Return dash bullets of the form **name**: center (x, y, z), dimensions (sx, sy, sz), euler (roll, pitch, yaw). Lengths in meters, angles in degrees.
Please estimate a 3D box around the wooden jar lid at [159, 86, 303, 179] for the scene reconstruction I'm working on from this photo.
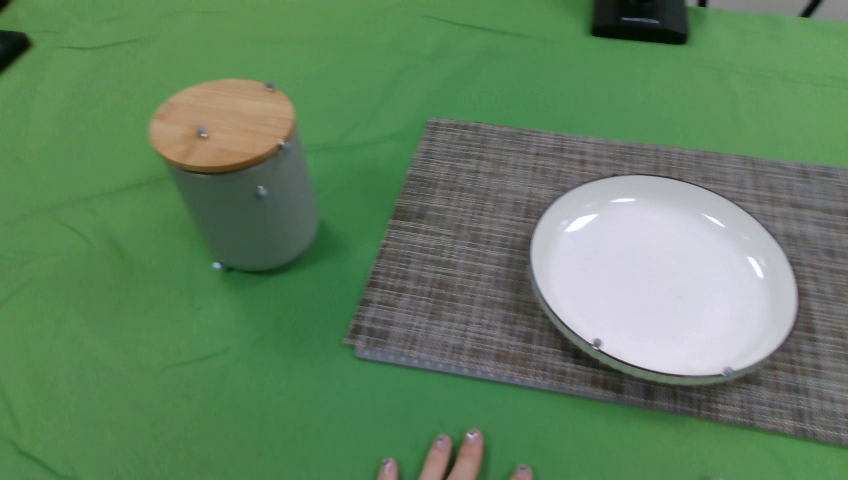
- **wooden jar lid**: center (-0.148, -0.082, 0.473), dimensions (0.108, 0.021, 0.107), euler (1, 48, -1)

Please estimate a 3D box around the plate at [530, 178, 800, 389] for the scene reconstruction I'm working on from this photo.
- **plate**: center (0.191, 0.033, 0.499), dimensions (0.207, 0.039, 0.205), euler (-1, 49, 1)

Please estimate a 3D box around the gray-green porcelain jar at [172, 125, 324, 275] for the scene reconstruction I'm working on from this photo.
- **gray-green porcelain jar**: center (-0.145, -0.040, 0.522), dimensions (0.106, 0.127, 0.105), euler (-1, 49, 1)
